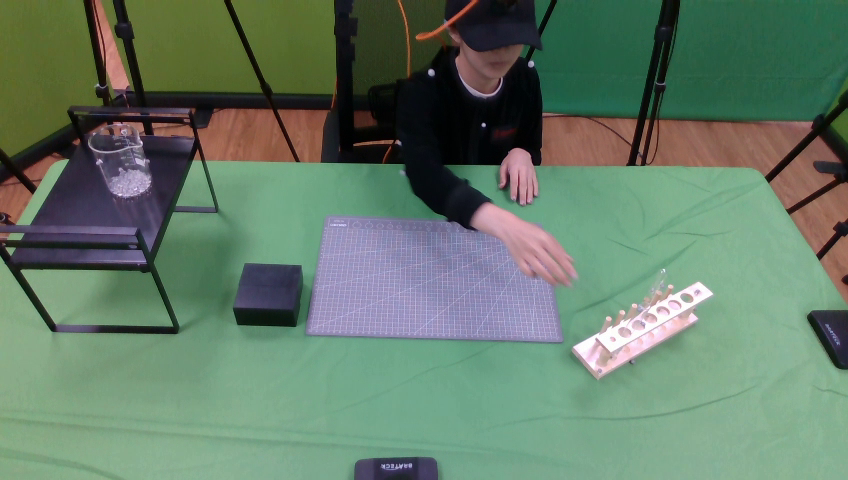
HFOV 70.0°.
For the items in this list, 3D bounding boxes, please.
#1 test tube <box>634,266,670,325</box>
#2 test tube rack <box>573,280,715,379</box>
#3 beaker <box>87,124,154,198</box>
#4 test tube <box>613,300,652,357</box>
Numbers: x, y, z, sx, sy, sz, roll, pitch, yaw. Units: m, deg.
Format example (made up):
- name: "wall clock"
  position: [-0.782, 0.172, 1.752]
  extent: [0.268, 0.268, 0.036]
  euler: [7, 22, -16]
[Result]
- name: "test tube"
  position: [0.382, 0.095, 1.020]
  extent: [0.017, 0.151, 0.017]
  euler: [2, 48, -2]
- name: "test tube rack"
  position: [0.378, 0.140, 1.038]
  extent: [0.242, 0.085, 0.066]
  euler: [-22, 51, -23]
- name: "beaker"
  position: [-0.482, -0.124, 0.978]
  extent: [0.084, 0.101, 0.073]
  euler: [9, 46, 4]
- name: "test tube"
  position: [0.328, 0.144, 0.962]
  extent: [0.017, 0.151, 0.017]
  euler: [3, 49, -4]
